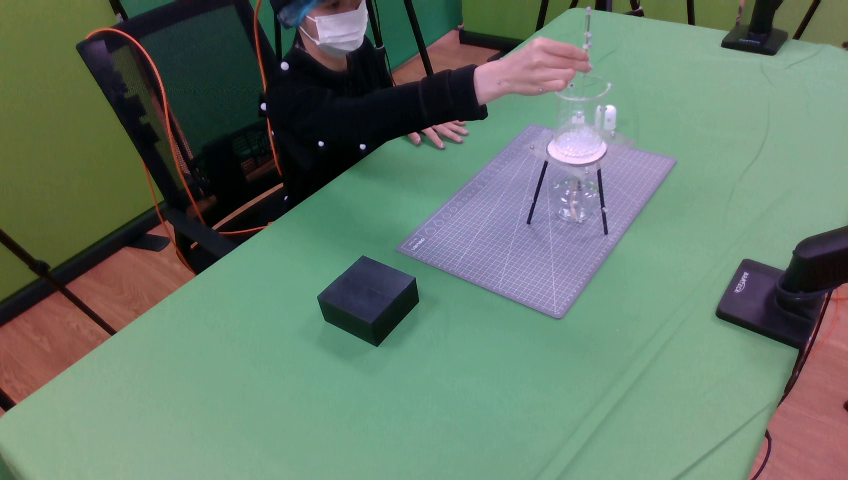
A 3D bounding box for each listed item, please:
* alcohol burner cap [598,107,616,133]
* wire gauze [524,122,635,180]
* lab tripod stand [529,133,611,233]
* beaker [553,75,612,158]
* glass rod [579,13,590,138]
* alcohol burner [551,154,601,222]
[{"bbox_3d":[0.361,-0.238,1.189,0.034,0.048,0.033,-4,39,4],"label":"alcohol burner cap"},{"bbox_3d":[0.233,-0.142,0.913,0.122,0.011,0.124,-31,43,-26],"label":"wire gauze"},{"bbox_3d":[0.236,-0.089,0.953,0.148,0.132,0.147,-5,42,5],"label":"lab tripod stand"},{"bbox_3d":[0.230,-0.178,0.882,0.084,0.101,0.073,-9,41,1],"label":"beaker"},{"bbox_3d":[0.227,-0.226,0.855,0.008,0.201,0.008,-6,46,6],"label":"glass rod"},{"bbox_3d":[0.244,-0.088,0.966,0.078,0.119,0.077,-3,40,3],"label":"alcohol burner"}]
